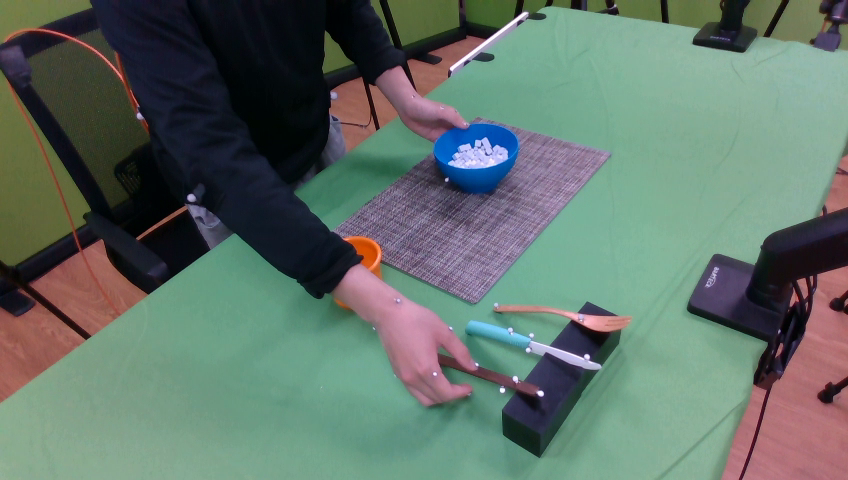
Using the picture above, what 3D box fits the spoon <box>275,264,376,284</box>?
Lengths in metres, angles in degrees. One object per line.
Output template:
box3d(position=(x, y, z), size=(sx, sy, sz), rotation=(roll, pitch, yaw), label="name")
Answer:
box3d(position=(-0.133, 0.044, 0.840), size=(0.041, 0.195, 0.021), rotation=(27, 96, 33), label="spoon")

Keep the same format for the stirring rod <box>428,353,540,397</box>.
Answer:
box3d(position=(0.068, 0.162, 0.736), size=(0.174, 0.006, 0.014), rotation=(8, 41, 47), label="stirring rod")

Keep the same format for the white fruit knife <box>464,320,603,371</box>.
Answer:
box3d(position=(0.128, 0.130, 0.749), size=(0.205, 0.027, 0.016), rotation=(10, 42, 43), label="white fruit knife")

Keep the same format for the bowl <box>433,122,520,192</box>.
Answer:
box3d(position=(0.093, -0.137, 1.064), size=(0.151, 0.077, 0.150), rotation=(-4, 41, 4), label="bowl")

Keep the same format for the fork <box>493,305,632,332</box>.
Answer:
box3d(position=(0.171, 0.097, 0.783), size=(0.205, 0.019, 0.028), rotation=(4, 41, 43), label="fork")
